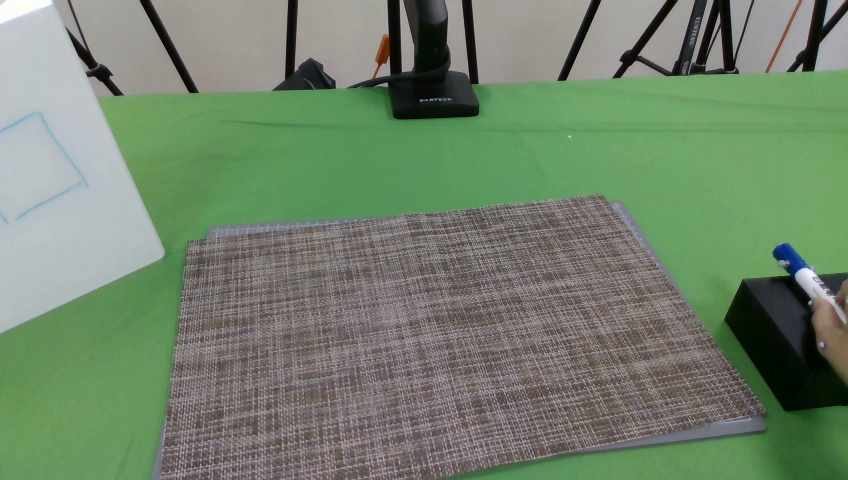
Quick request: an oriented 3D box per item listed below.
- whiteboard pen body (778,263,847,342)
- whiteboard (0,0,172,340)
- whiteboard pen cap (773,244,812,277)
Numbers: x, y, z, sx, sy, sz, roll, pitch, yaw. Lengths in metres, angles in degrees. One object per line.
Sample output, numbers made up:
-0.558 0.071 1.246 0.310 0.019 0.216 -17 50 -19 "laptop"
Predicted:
0.323 0.059 0.475 0.017 0.017 0.139 -5 35 -8 "whiteboard pen body"
-0.400 -0.083 0.522 0.217 0.308 0.142 -30 30 -32 "whiteboard"
0.317 0.020 0.519 0.018 0.018 0.033 -6 39 -8 "whiteboard pen cap"
